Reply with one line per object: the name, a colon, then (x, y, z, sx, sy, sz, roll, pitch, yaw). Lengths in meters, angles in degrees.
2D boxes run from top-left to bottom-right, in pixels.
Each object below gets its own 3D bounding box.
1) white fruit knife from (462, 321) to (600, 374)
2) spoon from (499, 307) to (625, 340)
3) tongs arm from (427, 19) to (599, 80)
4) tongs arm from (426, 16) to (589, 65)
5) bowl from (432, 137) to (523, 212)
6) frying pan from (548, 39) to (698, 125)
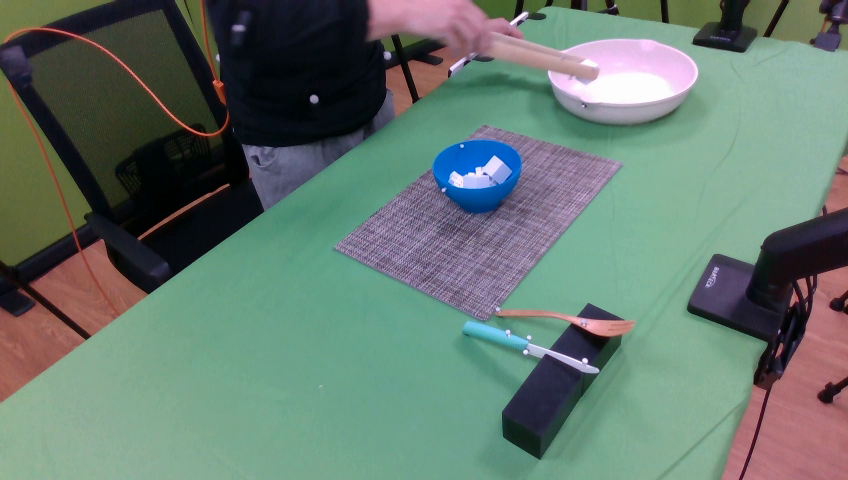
white fruit knife: (0.126, 0.132, 0.752, 0.205, 0.027, 0.016, 12, 48, 42)
spoon: (0.169, 0.102, 0.773, 0.042, 0.021, 0.192, -7, 11, -38)
tongs arm: (0.169, -0.320, 1.037, 0.388, 0.026, 0.050, -3, 42, -40)
tongs arm: (0.158, -0.335, 1.052, 0.391, 0.028, 0.028, 0, 43, -37)
bowl: (0.091, -0.100, 1.022, 0.151, 0.077, 0.150, -4, 41, 4)
frying pan: (0.321, -0.371, 1.290, 0.484, 0.103, 0.307, 29, 51, 24)
